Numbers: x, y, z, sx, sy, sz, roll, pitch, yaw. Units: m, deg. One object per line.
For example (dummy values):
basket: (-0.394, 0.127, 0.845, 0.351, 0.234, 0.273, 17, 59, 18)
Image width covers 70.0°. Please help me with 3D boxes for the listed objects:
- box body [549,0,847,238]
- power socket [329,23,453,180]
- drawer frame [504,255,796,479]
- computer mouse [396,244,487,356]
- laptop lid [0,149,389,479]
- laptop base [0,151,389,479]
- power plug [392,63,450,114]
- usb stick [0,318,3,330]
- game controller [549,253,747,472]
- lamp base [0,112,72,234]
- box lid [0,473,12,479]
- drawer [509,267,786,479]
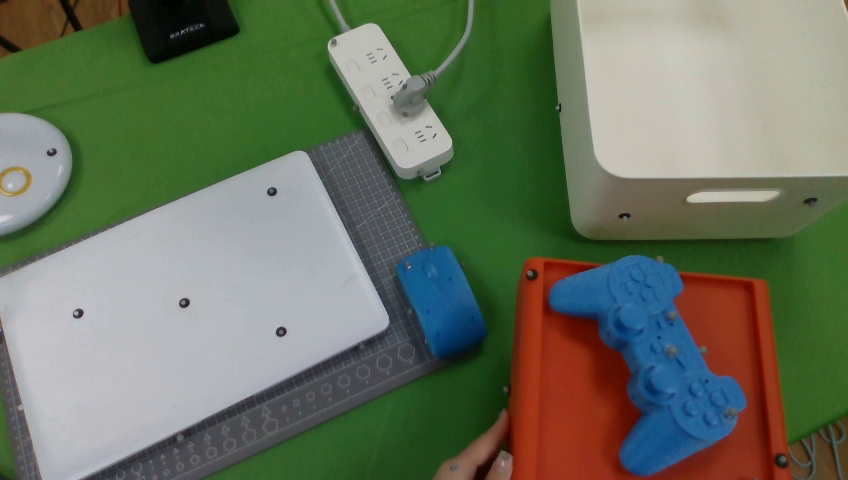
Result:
box body: (0.274, -0.187, 0.642, 0.254, 0.161, 0.361, -1, 67, 1)
power socket: (-0.042, -0.168, 0.715, 0.072, 0.033, 0.225, -26, 68, -11)
drawer frame: (0.169, 0.131, 0.481, 0.201, 0.083, 0.212, 5, 64, 4)
computer mouse: (0.016, 0.057, 0.612, 0.063, 0.041, 0.116, -21, 64, -5)
laptop lid: (-0.239, 0.064, 0.617, 0.357, 0.013, 0.240, -24, 71, -8)
laptop base: (-0.240, 0.067, 0.628, 0.354, 0.023, 0.234, -26, 72, -9)
power plug: (-0.001, -0.164, 0.687, 0.072, 0.053, 0.035, -15, 66, -6)
usb stick: (-0.447, 0.082, 0.614, 0.059, 0.027, 0.021, -22, 63, -10)
game controller: (0.166, 0.081, 0.448, 0.097, 0.052, 0.154, -16, 66, -11)
lamp base: (-0.500, -0.113, 0.626, 0.178, 0.181, 0.160, 22, 69, 14)
box lid: (-0.395, 0.355, 0.515, 0.370, 0.015, 0.262, 23, 70, 10)
drawer: (0.169, 0.134, 0.480, 0.194, 0.074, 0.210, 4, 64, 5)
